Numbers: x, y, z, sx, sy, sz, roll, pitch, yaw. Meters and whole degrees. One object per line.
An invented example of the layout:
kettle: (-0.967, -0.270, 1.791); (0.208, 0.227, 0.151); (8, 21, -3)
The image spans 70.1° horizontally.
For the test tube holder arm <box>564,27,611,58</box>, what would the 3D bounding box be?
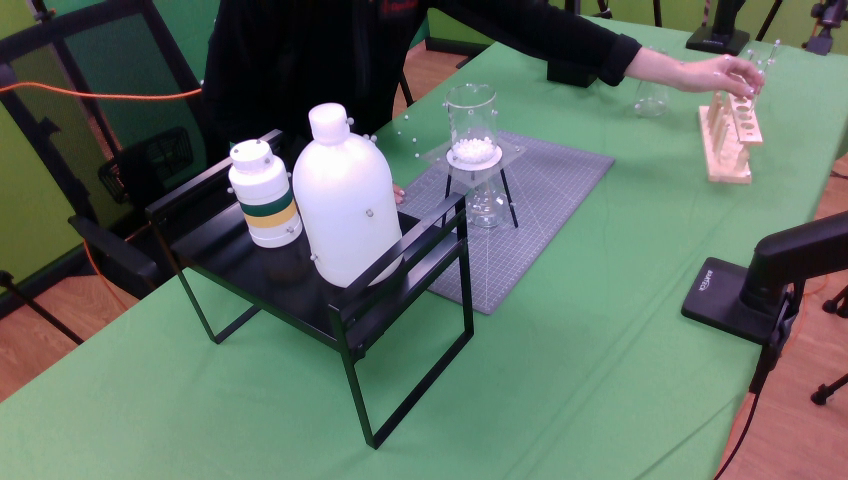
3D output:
test tube holder arm: (0.369, -0.450, 1.373); (0.013, 0.015, 0.177); (-40, 41, 10)

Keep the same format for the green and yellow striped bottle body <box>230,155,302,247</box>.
green and yellow striped bottle body: (-0.188, -0.055, 0.714); (0.063, 0.120, 0.063); (-4, 41, 4)

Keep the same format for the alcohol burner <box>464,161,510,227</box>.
alcohol burner: (0.102, -0.081, 0.982); (0.078, 0.119, 0.077); (-4, 43, 4)

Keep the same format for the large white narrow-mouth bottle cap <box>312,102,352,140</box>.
large white narrow-mouth bottle cap: (-0.088, -0.114, 0.579); (0.038, 0.024, 0.037); (-3, 39, 3)

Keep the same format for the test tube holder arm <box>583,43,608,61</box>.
test tube holder arm: (0.379, -0.420, 1.341); (0.010, 0.015, 0.087); (-40, 41, 10)

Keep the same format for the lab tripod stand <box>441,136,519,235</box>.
lab tripod stand: (0.083, -0.086, 0.976); (0.148, 0.132, 0.147); (-4, 43, 4)

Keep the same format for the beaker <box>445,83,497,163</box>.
beaker: (0.073, -0.174, 0.904); (0.074, 0.101, 0.084); (3, 41, 13)

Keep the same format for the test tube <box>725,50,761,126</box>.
test tube: (0.570, -0.269, 1.086); (0.017, 0.151, 0.017); (-1, 45, 1)

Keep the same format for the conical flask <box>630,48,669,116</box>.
conical flask: (0.457, -0.316, 1.205); (0.075, 0.122, 0.075); (-4, 41, 4)

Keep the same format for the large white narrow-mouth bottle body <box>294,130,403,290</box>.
large white narrow-mouth bottle body: (-0.081, -0.047, 0.634); (0.102, 0.195, 0.101); (-4, 39, 3)

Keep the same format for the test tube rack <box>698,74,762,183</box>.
test tube rack: (0.547, -0.208, 1.094); (0.066, 0.085, 0.242); (5, 42, 15)

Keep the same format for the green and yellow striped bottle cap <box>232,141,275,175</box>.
green and yellow striped bottle cap: (-0.192, -0.093, 0.680); (0.045, 0.020, 0.045); (-5, 39, 5)

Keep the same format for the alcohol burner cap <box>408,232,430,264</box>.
alcohol burner cap: (-0.010, 0.010, 0.947); (0.034, 0.048, 0.033); (-5, 41, 4)

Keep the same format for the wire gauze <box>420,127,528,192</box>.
wire gauze: (0.076, -0.131, 0.927); (0.122, 0.011, 0.124); (-34, 49, -25)

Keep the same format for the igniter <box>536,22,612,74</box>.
igniter: (0.330, -0.438, 1.366); (0.057, 0.025, 0.274); (-11, 41, -19)

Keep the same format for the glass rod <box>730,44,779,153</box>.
glass rod: (0.555, -0.233, 1.020); (0.008, 0.200, 0.008); (2, 39, -1)
